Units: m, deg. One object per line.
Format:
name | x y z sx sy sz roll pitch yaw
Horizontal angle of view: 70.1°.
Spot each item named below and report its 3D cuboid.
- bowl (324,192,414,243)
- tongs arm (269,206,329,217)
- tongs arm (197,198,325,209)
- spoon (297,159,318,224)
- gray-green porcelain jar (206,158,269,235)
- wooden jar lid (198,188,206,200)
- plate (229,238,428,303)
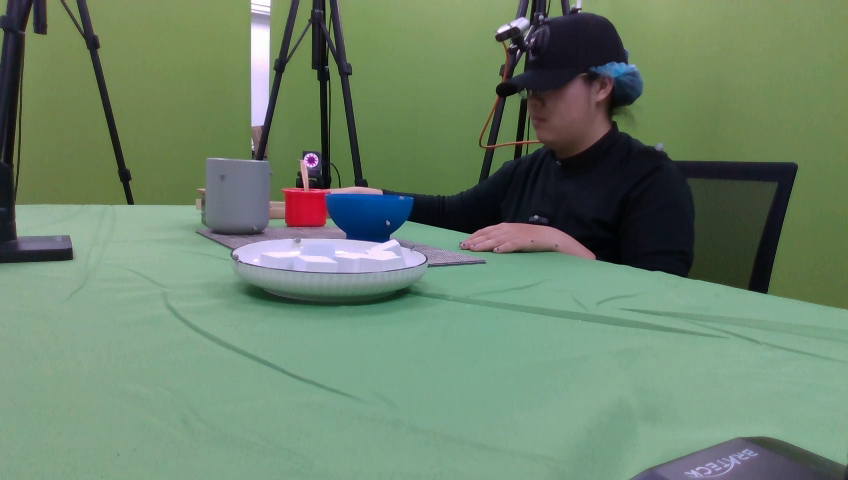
bowl | -0.094 -0.037 1.015 0.151 0.077 0.151 3 7 0
tongs arm | -0.295 -0.066 1.384 0.390 0.028 0.028 -3 6 -41
tongs arm | -0.337 -0.079 1.449 0.387 0.026 0.050 0 8 -29
spoon | -0.244 -0.103 1.251 0.042 0.021 0.193 1 51 -17
gray-green porcelain jar | -0.322 -0.076 1.048 0.106 0.126 0.106 3 7 0
wooden jar lid | -0.382 -0.088 1.175 0.108 0.020 0.108 3 8 0
plate | -0.099 0.032 0.651 0.209 0.038 0.209 3 8 0
